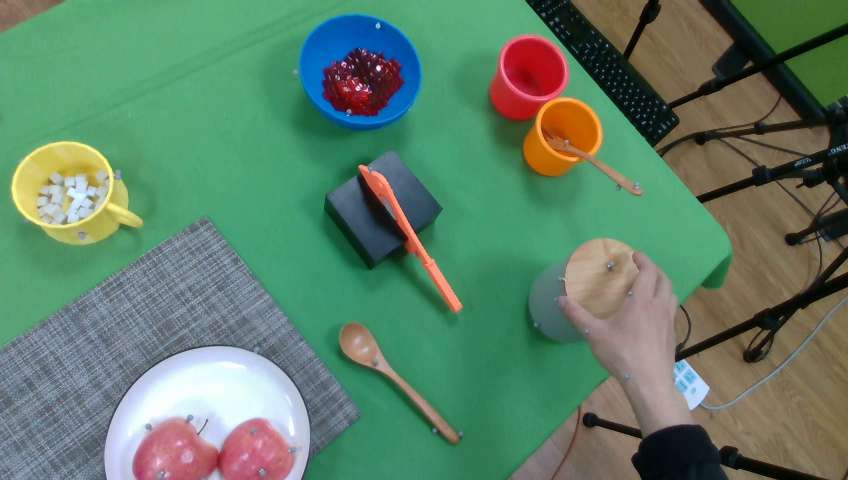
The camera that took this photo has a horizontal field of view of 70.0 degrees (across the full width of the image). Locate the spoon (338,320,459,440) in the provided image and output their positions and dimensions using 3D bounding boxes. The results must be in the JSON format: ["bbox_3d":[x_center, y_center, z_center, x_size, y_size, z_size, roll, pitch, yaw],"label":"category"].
[{"bbox_3d":[-0.029,0.169,0.715,0.193,0.022,0.041,43,49,2],"label":"spoon"}]

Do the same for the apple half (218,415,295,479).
[{"bbox_3d":[-0.182,0.230,0.648,0.081,0.033,0.081,3,72,-9],"label":"apple half"}]

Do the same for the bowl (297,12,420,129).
[{"bbox_3d":[-0.085,-0.201,0.773,0.152,0.077,0.150,3,75,-11],"label":"bowl"}]

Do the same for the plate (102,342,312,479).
[{"bbox_3d":[-0.227,0.215,0.649,0.210,0.038,0.208,3,75,-12],"label":"plate"}]

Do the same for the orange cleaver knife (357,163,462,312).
[{"bbox_3d":[-0.018,-0.003,0.732,0.012,0.076,0.212,-36,108,-15],"label":"orange cleaver knife"}]

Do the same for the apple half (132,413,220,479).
[{"bbox_3d":[-0.259,0.223,0.624,0.074,0.053,0.080,-41,87,-16],"label":"apple half"}]

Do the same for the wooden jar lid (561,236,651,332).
[{"bbox_3d":[0.202,0.050,0.677,0.109,0.021,0.108,3,76,-13],"label":"wooden jar lid"}]

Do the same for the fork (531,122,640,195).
[{"bbox_3d":[0.202,-0.107,0.772,0.028,0.019,0.205,-21,37,-17],"label":"fork"}]

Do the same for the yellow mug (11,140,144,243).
[{"bbox_3d":[-0.376,-0.046,0.676,0.131,0.064,0.099,24,71,-6],"label":"yellow mug"}]

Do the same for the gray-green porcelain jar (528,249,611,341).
[{"bbox_3d":[0.191,0.067,0.736,0.106,0.127,0.105,3,74,-11],"label":"gray-green porcelain jar"}]
